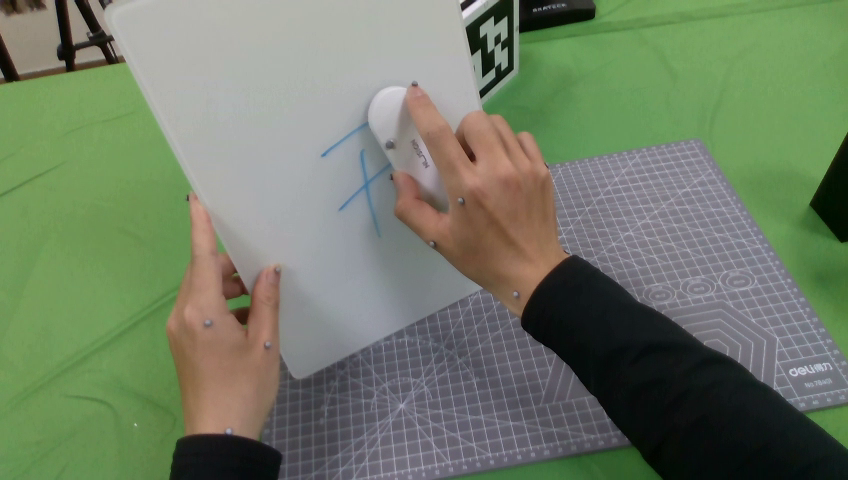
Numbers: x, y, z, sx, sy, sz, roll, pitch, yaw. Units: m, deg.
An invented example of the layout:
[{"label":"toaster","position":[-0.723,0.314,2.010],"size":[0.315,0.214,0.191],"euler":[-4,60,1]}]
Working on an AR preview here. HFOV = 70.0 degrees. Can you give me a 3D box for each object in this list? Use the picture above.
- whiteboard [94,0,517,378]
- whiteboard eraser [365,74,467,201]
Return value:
[{"label":"whiteboard","position":[-0.076,-0.084,0.495],"size":[0.217,0.308,0.142],"euler":[-25,33,-12]},{"label":"whiteboard eraser","position":[-0.005,-0.072,0.437],"size":[0.041,0.102,0.018],"euler":[-35,26,-1]}]
